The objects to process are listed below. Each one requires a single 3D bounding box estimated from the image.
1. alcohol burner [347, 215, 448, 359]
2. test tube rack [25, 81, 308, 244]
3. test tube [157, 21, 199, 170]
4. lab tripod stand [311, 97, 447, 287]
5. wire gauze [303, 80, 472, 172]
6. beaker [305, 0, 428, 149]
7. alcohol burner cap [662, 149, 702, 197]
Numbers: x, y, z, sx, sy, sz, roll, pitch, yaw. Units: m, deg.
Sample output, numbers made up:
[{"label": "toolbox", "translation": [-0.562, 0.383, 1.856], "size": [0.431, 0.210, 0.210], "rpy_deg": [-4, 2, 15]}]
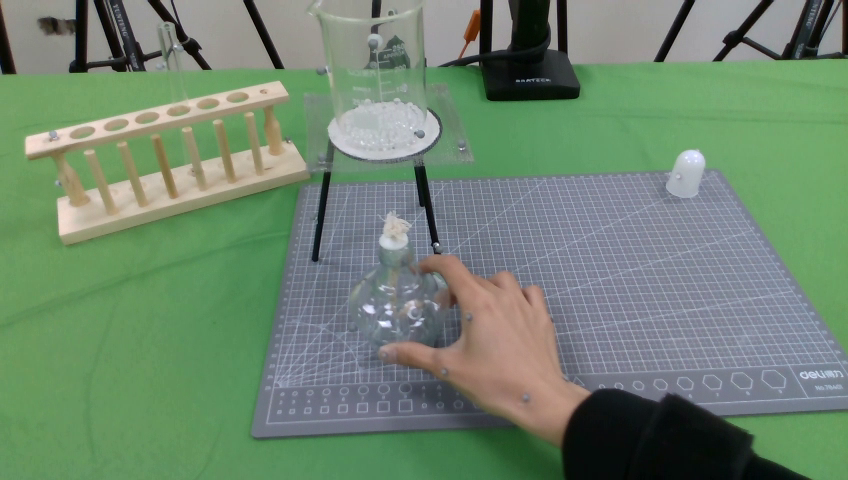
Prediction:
[{"label": "alcohol burner", "translation": [-0.020, 0.032, 0.451], "size": [0.078, 0.120, 0.077], "rpy_deg": [-1, 40, 1]}, {"label": "test tube rack", "translation": [-0.248, -0.082, 0.608], "size": [0.243, 0.086, 0.066], "rpy_deg": [-18, 45, -19]}, {"label": "test tube", "translation": [-0.239, -0.136, 0.593], "size": [0.017, 0.151, 0.017], "rpy_deg": [3, 36, -1]}, {"label": "lab tripod stand", "translation": [-0.032, -0.041, 0.518], "size": [0.148, 0.133, 0.147], "rpy_deg": [-1, 44, 1]}, {"label": "wire gauze", "translation": [-0.034, -0.090, 0.474], "size": [0.125, 0.011, 0.120], "rpy_deg": [-8, 40, -3]}, {"label": "beaker", "translation": [-0.038, -0.124, 0.439], "size": [0.084, 0.101, 0.073], "rpy_deg": [-1, 41, 2]}, {"label": "alcohol burner cap", "translation": [0.264, -0.071, 0.616], "size": [0.034, 0.048, 0.033], "rpy_deg": [0, 42, 1]}]
